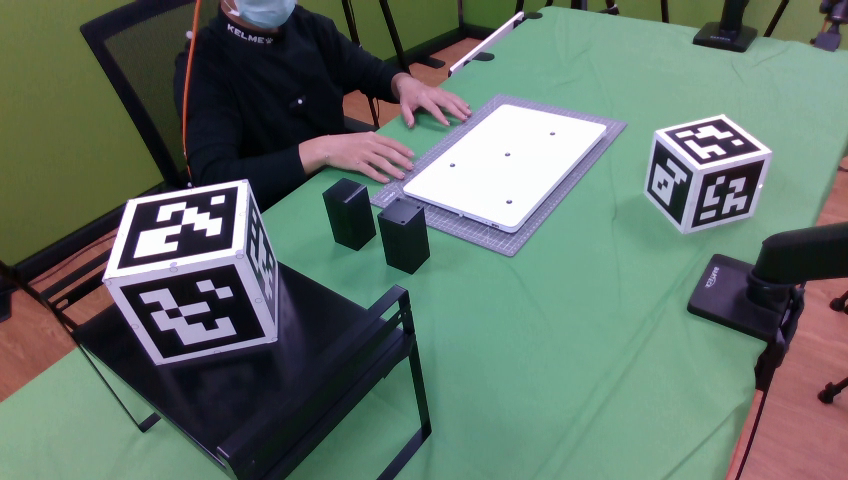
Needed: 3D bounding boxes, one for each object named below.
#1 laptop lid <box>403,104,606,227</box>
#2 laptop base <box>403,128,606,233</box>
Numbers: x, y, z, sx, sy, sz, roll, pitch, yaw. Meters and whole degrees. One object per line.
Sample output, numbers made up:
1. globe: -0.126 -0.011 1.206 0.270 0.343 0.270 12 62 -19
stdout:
1. laptop lid: 0.153 -0.154 1.110 0.240 0.013 0.358 22 48 33
2. laptop base: 0.156 -0.144 1.116 0.233 0.023 0.355 20 47 32
